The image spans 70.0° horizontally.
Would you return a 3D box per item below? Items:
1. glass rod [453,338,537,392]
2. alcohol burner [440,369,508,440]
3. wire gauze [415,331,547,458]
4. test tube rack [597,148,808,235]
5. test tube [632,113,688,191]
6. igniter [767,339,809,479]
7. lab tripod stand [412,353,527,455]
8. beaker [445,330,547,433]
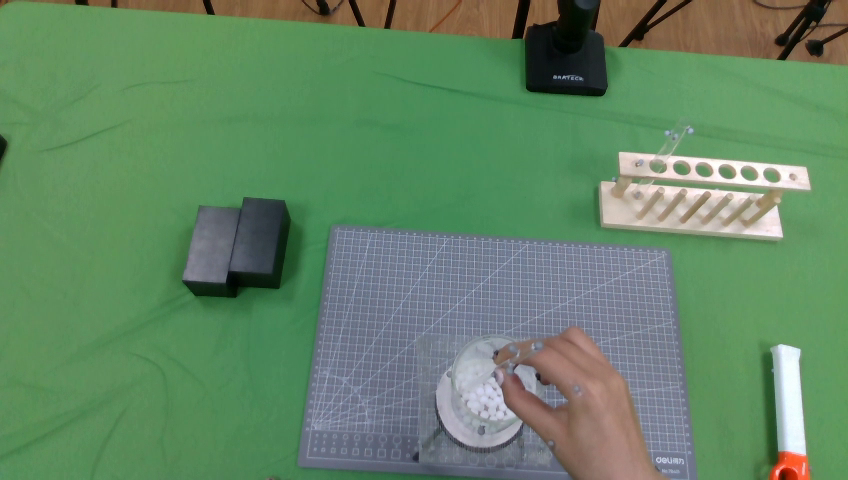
[{"bbox_3d":[0.051,0.104,0.485,0.008,0.200,0.008,5,67,-11],"label":"glass rod"},{"bbox_3d":[0.055,0.174,0.654,0.078,0.120,0.077,2,64,-4],"label":"alcohol burner"},{"bbox_3d":[0.053,0.146,0.583,0.125,0.011,0.120,1,64,-1],"label":"wire gauze"},{"bbox_3d":[0.361,-0.062,0.796,0.242,0.086,0.066,4,65,-1],"label":"test tube rack"},{"bbox_3d":[0.292,-0.106,0.757,0.017,0.151,0.017,1,62,-1],"label":"test tube"},{"bbox_3d":[0.418,0.248,0.692,0.057,0.025,0.274,15,66,-8],"label":"igniter"},{"bbox_3d":[0.050,0.177,0.641,0.148,0.132,0.147,1,65,-1],"label":"lab tripod stand"},{"bbox_3d":[0.058,0.130,0.538,0.084,0.101,0.073,0,65,-3],"label":"beaker"}]
